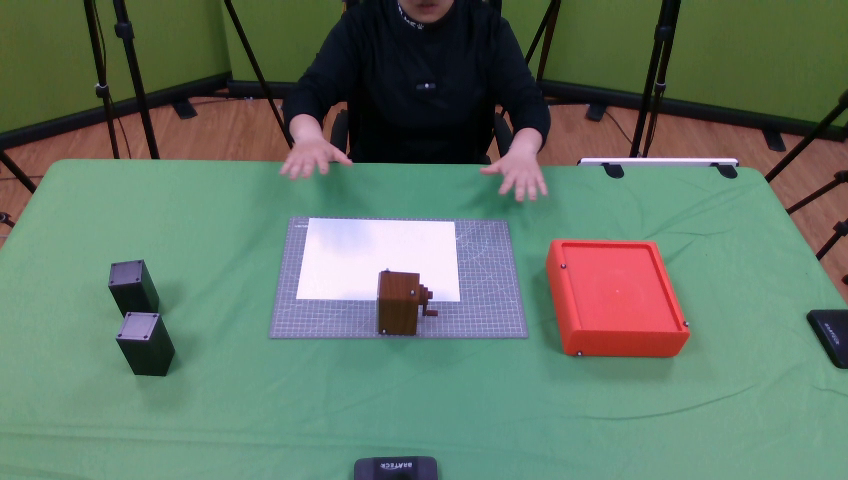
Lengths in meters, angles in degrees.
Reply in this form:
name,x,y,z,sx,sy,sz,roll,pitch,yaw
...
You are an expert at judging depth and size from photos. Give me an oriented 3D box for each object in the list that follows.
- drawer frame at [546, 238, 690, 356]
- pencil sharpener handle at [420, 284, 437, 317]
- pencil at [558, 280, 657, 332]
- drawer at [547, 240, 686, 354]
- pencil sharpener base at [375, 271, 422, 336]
name,x,y,z,sx,sy,sz,roll,pitch,yaw
drawer frame,0.337,0.098,1.084,0.202,0.083,0.212,1,46,-4
pencil sharpener handle,0.009,0.104,1.017,0.030,0.068,0.036,3,39,-2
pencil,0.334,0.121,1.105,0.193,0.012,0.012,27,50,14
drawer,0.336,0.098,1.087,0.194,0.073,0.210,2,46,-3
pencil sharpener base,-0.043,0.109,1.025,0.077,0.107,0.061,3,45,-2
